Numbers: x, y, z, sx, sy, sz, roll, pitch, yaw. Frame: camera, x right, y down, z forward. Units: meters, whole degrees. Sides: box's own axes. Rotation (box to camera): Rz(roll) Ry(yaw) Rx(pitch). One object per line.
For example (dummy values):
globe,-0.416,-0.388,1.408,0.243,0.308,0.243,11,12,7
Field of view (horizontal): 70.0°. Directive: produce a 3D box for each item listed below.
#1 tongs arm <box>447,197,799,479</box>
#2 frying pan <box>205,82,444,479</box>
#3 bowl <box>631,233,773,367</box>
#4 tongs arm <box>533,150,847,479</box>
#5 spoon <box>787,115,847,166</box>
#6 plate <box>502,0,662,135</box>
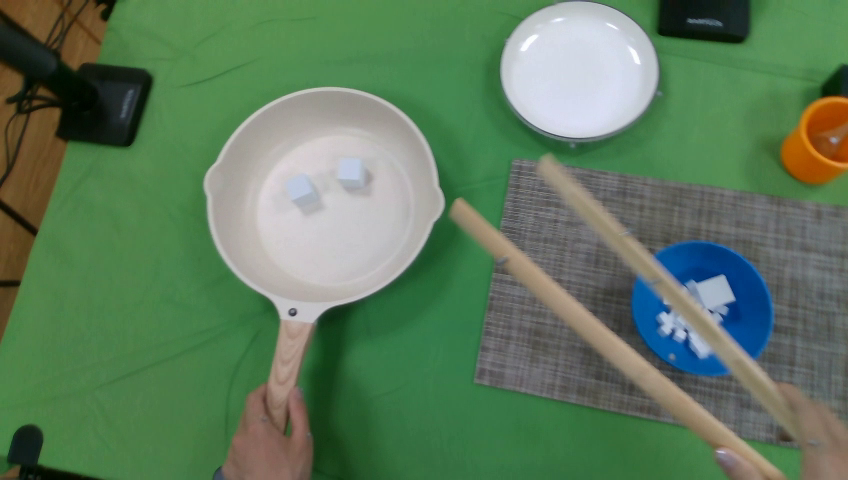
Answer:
tongs arm,0.166,0.086,0.507,0.385,0.028,0.028,40,49,16
frying pan,-0.141,0.036,0.743,0.306,0.103,0.484,7,67,8
bowl,0.309,0.074,0.702,0.151,0.077,0.150,-1,75,5
tongs arm,0.217,0.056,0.543,0.051,0.027,0.381,-27,64,-32
spoon,0.521,-0.156,0.713,0.022,0.194,0.041,-9,62,-44
plate,0.210,-0.233,0.818,0.207,0.039,0.206,-1,75,5
